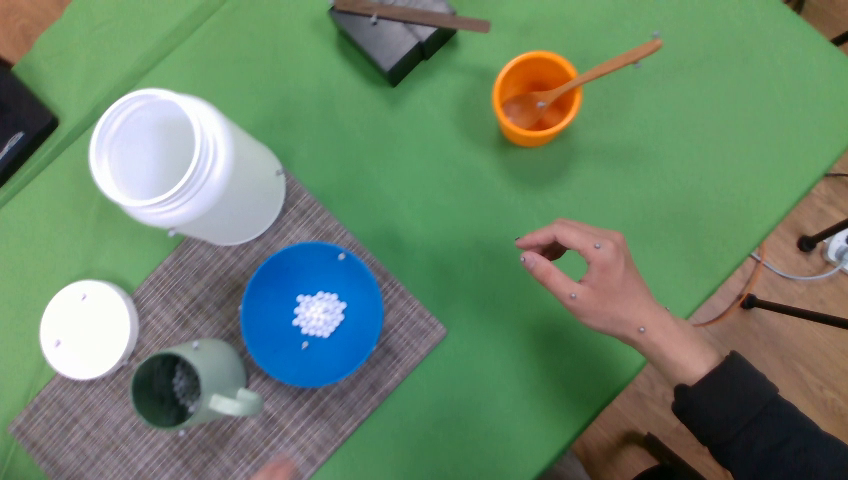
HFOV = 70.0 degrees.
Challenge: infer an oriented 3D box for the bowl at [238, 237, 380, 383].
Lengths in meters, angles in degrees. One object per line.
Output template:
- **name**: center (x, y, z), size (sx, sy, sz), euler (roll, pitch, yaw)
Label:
- **bowl**: center (-0.116, 0.075, 0.662), size (0.151, 0.077, 0.151), euler (0, 86, 5)

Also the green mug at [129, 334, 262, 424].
- **green mug**: center (-0.236, 0.154, 0.653), size (0.125, 0.105, 0.092), euler (17, 86, 6)

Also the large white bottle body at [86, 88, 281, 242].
- **large white bottle body**: center (-0.242, -0.073, 0.630), size (0.130, 0.185, 0.130), euler (-1, 82, 7)

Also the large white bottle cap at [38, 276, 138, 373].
- **large white bottle cap**: center (-0.396, 0.100, 0.714), size (0.115, 0.018, 0.114), euler (0, 85, 5)

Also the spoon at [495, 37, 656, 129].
- **spoon**: center (0.149, -0.162, 0.627), size (0.022, 0.193, 0.041), euler (-2, 79, -40)

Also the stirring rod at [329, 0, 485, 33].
- **stirring rod**: center (-0.020, -0.248, 0.664), size (0.176, 0.006, 0.014), euler (11, 121, 5)
